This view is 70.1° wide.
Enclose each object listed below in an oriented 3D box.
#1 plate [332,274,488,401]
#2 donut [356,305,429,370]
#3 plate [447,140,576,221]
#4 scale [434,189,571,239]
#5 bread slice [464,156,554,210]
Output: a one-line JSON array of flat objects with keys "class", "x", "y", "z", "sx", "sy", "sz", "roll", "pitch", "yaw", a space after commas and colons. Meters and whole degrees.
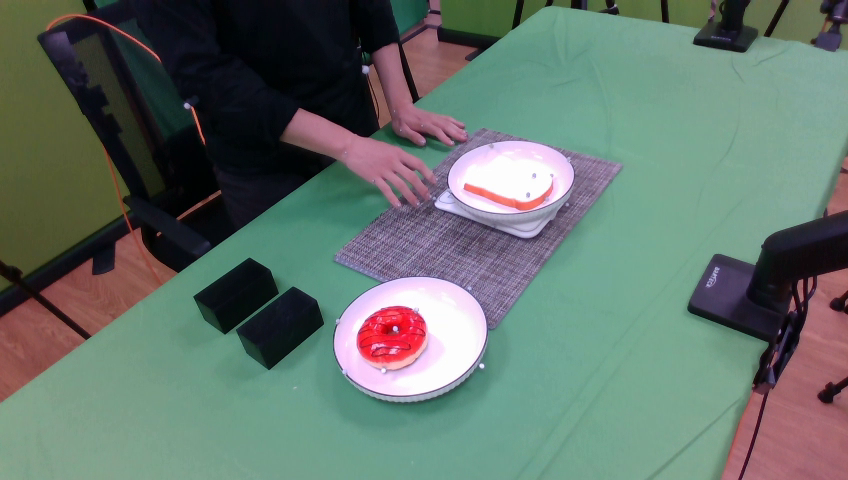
[{"class": "plate", "x": -0.017, "y": 0.130, "z": 0.808, "sx": 0.207, "sy": 0.039, "sz": 0.206, "roll": -4, "pitch": 41, "yaw": 4}, {"class": "donut", "x": -0.041, "y": 0.127, "z": 0.798, "sx": 0.099, "sy": 0.048, "sz": 0.098, "roll": -7, "pitch": 40, "yaw": 6}, {"class": "plate", "x": 0.143, "y": -0.094, "z": 0.995, "sx": 0.209, "sy": 0.038, "sz": 0.208, "roll": -4, "pitch": 41, "yaw": 4}, {"class": "scale", "x": 0.132, "y": -0.075, "z": 1.025, "sx": 0.199, "sy": 0.032, "sz": 0.149, "roll": 22, "pitch": 48, "yaw": 30}, {"class": "bread slice", "x": 0.148, "y": -0.095, "z": 0.998, "sx": 0.130, "sy": 0.019, "sz": 0.105, "roll": 25, "pitch": 51, "yaw": 32}]
